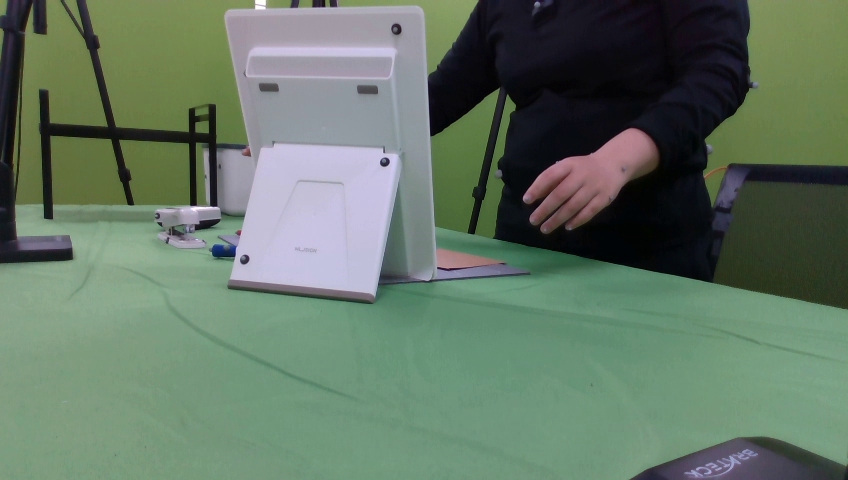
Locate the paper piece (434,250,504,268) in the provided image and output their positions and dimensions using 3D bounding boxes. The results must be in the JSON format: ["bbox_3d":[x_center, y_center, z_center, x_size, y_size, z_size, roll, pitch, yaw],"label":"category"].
[{"bbox_3d":[0.025,0.026,0.865,0.134,0.004,0.136,9,9,43],"label":"paper piece"}]

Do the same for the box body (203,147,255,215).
[{"bbox_3d":[-0.347,-0.152,1.519,0.366,0.160,0.253,-2,9,-31],"label":"box body"}]

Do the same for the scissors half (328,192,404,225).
[{"bbox_3d":[-0.127,-0.072,1.321,0.175,0.040,0.013,22,3,-5],"label":"scissors half"}]

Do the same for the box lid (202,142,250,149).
[{"bbox_3d":[-0.345,-0.225,1.509,0.373,0.015,0.262,-2,8,-31],"label":"box lid"}]

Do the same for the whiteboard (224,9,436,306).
[{"bbox_3d":[-0.117,-0.065,0.617,0.217,0.305,0.144,5,29,16],"label":"whiteboard"}]

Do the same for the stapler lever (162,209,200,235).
[{"bbox_3d":[-0.376,-0.031,0.933,0.027,0.040,0.117,1,7,-38],"label":"stapler lever"}]

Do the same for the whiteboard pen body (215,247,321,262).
[{"bbox_3d":[-0.208,0.018,0.805,0.141,0.017,0.017,2,7,1],"label":"whiteboard pen body"}]

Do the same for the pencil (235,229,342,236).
[{"bbox_3d":[-0.231,-0.012,1.051,0.195,0.012,0.012,1,7,-34],"label":"pencil"}]

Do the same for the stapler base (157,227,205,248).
[{"bbox_3d":[-0.376,-0.007,0.935,0.041,0.024,0.130,1,5,-38],"label":"stapler base"}]

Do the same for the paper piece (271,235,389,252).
[{"bbox_3d":[-0.151,0.003,0.978,0.135,0.008,0.139,14,11,35],"label":"paper piece"}]

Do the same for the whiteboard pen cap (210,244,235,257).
[{"bbox_3d":[-0.266,0.015,0.806,0.033,0.018,0.018,2,7,-1],"label":"whiteboard pen cap"}]

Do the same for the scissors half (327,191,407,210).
[{"bbox_3d":[-0.123,-0.091,1.318,0.175,0.040,0.013,5,10,-4],"label":"scissors half"}]

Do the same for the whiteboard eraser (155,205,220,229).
[{"bbox_3d":[-0.428,-0.041,1.100,0.055,0.042,0.113,7,8,19],"label":"whiteboard eraser"}]
